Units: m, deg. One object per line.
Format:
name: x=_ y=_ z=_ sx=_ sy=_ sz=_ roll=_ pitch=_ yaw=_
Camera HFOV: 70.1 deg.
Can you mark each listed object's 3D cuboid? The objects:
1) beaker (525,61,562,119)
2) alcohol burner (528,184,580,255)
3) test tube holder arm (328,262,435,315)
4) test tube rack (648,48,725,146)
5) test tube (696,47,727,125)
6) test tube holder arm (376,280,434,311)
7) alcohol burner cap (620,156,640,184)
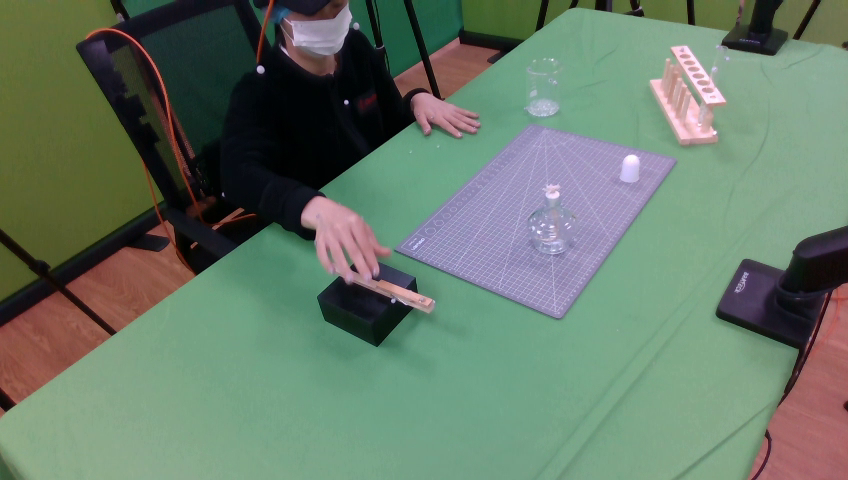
beaker: x=0.248 y=-0.308 z=1.246 sx=0.073 sy=0.101 sz=0.084 roll=30 pitch=52 yaw=36
alcohol burner: x=0.196 y=-0.036 z=0.911 sx=0.078 sy=0.119 sz=0.077 roll=-6 pitch=41 yaw=5
test tube holder arm: x=-0.063 y=0.065 z=0.836 sx=0.177 sy=0.013 sz=0.015 roll=20 pitch=48 yaw=28
test tube rack: x=0.508 y=-0.285 z=1.186 sx=0.067 sy=0.085 sz=0.241 roll=-4 pitch=40 yaw=6
test tube: x=0.519 y=-0.276 z=1.094 sx=0.017 sy=0.151 sz=0.017 roll=-1 pitch=42 yaw=2
test tube holder arm: x=-0.026 y=0.074 z=0.811 sx=0.087 sy=0.010 sz=0.015 roll=19 pitch=48 yaw=29
alcohol burner cap: x=0.358 y=-0.124 z=1.047 sx=0.034 sy=0.048 sz=0.033 roll=-4 pitch=40 yaw=4
